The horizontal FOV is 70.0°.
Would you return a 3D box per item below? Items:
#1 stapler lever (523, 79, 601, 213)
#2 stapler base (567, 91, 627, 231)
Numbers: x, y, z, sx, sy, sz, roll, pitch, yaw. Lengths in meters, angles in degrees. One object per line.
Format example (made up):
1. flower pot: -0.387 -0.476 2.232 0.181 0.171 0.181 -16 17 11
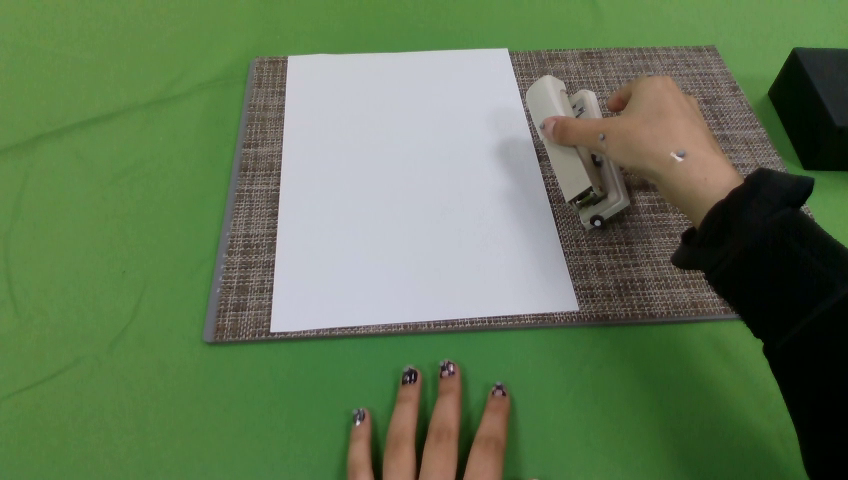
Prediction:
1. stapler lever: 0.104 -0.077 0.467 0.040 0.027 0.117 20 48 -30
2. stapler base: 0.123 -0.070 0.481 0.024 0.041 0.129 19 48 -31
